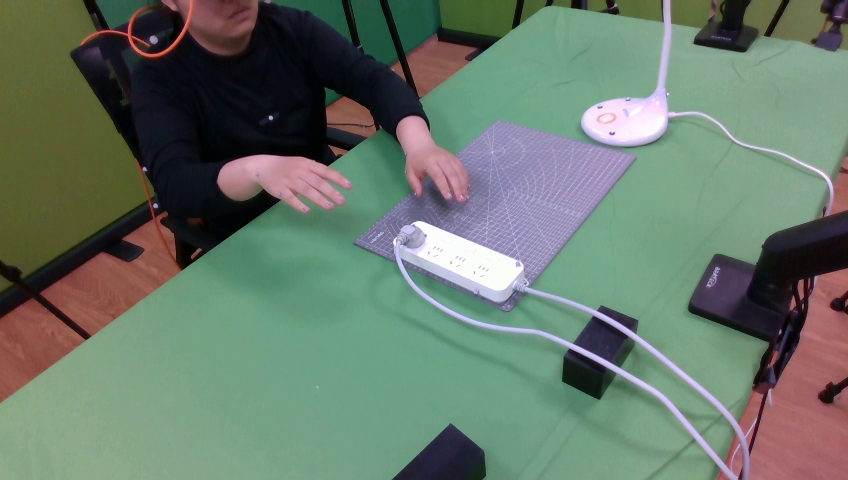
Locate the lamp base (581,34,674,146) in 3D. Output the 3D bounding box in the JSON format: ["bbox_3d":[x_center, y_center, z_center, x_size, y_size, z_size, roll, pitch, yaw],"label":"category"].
[{"bbox_3d":[0.392,-0.291,1.129,0.180,0.181,0.159,-11,41,-8],"label":"lamp base"}]

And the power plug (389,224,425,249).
[{"bbox_3d":[-0.030,0.004,0.920,0.073,0.053,0.035,-33,47,-26],"label":"power plug"}]

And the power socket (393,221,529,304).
[{"bbox_3d":[0.049,0.030,0.914,0.225,0.033,0.072,24,51,31],"label":"power socket"}]
